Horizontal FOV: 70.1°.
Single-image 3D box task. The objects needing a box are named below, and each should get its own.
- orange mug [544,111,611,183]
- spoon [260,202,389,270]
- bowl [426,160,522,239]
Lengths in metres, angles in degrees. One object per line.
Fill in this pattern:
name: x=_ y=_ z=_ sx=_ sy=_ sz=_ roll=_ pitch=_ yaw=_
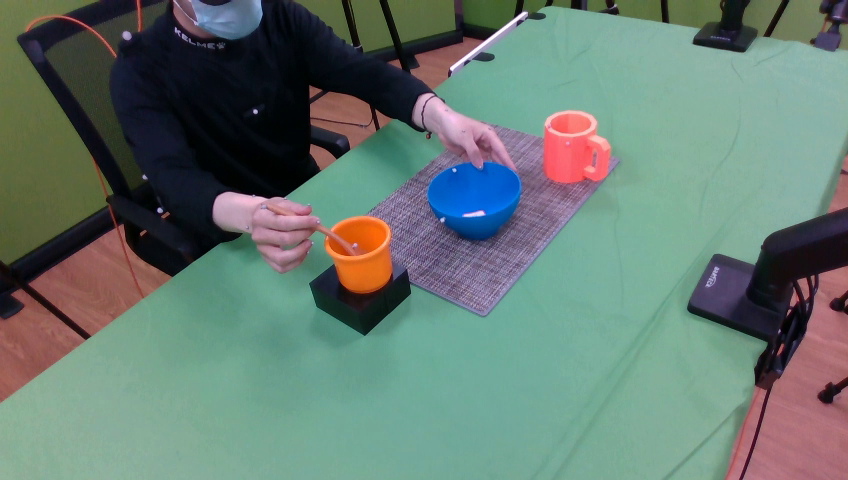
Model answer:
orange mug: x=0.266 y=-0.157 z=1.049 sx=0.084 sy=0.101 sz=0.125 roll=-32 pitch=42 yaw=-26
spoon: x=-0.129 y=-0.006 z=0.811 sx=0.021 sy=0.195 sz=0.041 roll=-50 pitch=27 yaw=16
bowl: x=0.083 y=-0.055 z=0.970 sx=0.151 sy=0.077 sz=0.150 roll=-6 pitch=41 yaw=5
